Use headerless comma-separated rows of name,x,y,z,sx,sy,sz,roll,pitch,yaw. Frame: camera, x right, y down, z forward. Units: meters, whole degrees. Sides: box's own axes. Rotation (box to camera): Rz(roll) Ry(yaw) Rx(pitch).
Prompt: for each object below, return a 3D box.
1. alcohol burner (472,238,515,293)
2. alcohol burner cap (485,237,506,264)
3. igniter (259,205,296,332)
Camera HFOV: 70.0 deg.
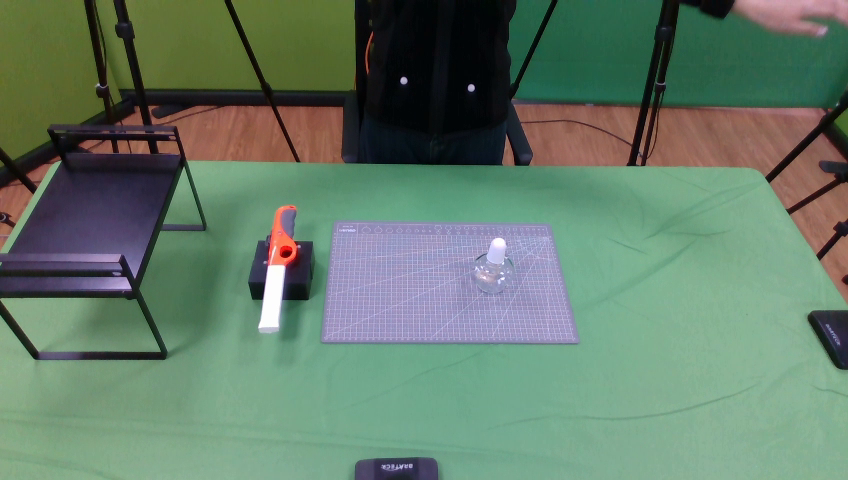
alcohol burner,0.128,0.041,1.101,0.078,0.120,0.077,1,47,-1
alcohol burner cap,0.129,0.016,1.076,0.034,0.048,0.033,6,42,-5
igniter,-0.259,0.040,1.071,0.057,0.025,0.274,0,50,-5
